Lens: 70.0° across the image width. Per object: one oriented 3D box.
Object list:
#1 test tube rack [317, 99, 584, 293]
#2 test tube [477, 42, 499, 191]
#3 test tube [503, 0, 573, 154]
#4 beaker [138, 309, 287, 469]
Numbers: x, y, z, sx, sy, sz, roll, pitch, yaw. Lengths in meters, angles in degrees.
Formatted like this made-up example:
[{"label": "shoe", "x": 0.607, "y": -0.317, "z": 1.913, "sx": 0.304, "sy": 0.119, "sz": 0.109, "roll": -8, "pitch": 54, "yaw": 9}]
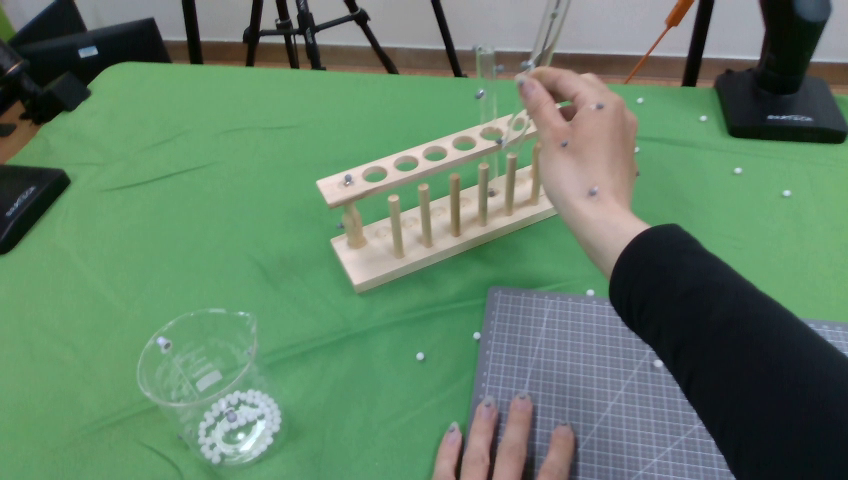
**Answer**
[{"label": "test tube rack", "x": 0.032, "y": -0.044, "z": 0.559, "sx": 0.243, "sy": 0.086, "sz": 0.066, "roll": -22, "pitch": 48, "yaw": -15}, {"label": "test tube", "x": 0.059, "y": -0.105, "z": 0.548, "sx": 0.017, "sy": 0.152, "sz": 0.017, "roll": -4, "pitch": 43, "yaw": 4}, {"label": "test tube", "x": 0.086, "y": -0.128, "z": 0.466, "sx": 0.017, "sy": 0.151, "sz": 0.017, "roll": 6, "pitch": 47, "yaw": -7}, {"label": "beaker", "x": -0.138, "y": 0.105, "z": 0.421, "sx": 0.073, "sy": 0.101, "sz": 0.084, "roll": 27, "pitch": 53, "yaw": 27}]
